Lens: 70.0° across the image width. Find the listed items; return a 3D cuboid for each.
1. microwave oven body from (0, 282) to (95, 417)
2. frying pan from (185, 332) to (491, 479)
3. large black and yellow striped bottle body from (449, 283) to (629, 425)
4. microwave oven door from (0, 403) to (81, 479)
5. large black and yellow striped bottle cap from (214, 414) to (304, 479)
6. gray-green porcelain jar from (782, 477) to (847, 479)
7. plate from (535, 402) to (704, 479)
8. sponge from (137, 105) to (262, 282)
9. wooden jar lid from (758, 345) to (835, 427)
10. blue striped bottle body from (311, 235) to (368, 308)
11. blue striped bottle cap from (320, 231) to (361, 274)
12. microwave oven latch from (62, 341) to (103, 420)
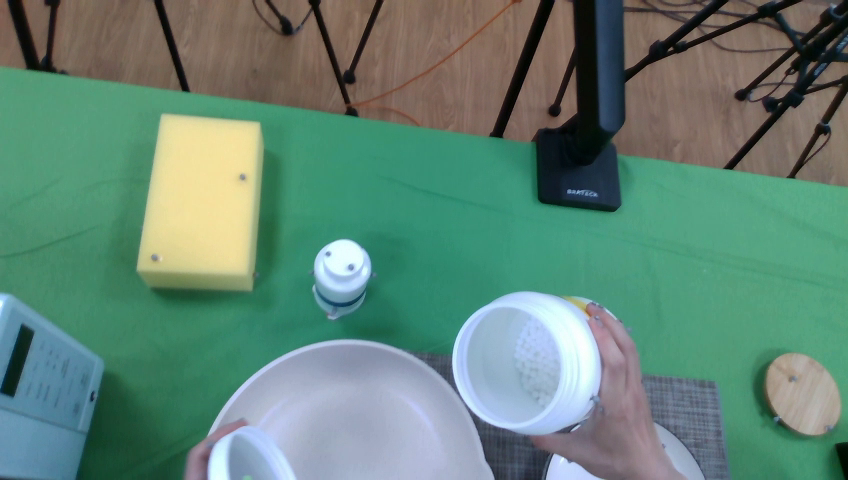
[{"bbox_3d":[-0.499,0.252,0.452,0.327,0.261,0.438,7,68,-8],"label":"microwave oven body"},{"bbox_3d":[-0.089,0.335,0.587,0.307,0.103,0.483,6,59,-6],"label":"frying pan"},{"bbox_3d":[0.116,0.110,0.599,0.130,0.185,0.130,-4,82,32],"label":"large black and yellow striped bottle body"},{"bbox_3d":[-0.359,0.307,0.452,0.039,0.245,0.353,7,67,-8],"label":"microwave oven door"},{"bbox_3d":[-0.128,0.197,0.487,0.019,0.115,0.114,-26,74,4],"label":"large black and yellow striped bottle cap"},{"bbox_3d":[0.457,0.326,0.690,0.106,0.127,0.105,4,67,-9],"label":"gray-green porcelain jar"},{"bbox_3d":[0.225,0.295,0.701,0.210,0.038,0.207,4,68,-9],"label":"plate"},{"bbox_3d":[-0.266,-0.056,0.735,0.118,0.061,0.205,2,68,-10],"label":"sponge"},{"bbox_3d":[0.493,0.194,0.808,0.108,0.021,0.107,4,69,-9],"label":"wooden jar lid"},{"bbox_3d":[-0.099,0.033,0.700,0.063,0.121,0.062,4,67,-9],"label":"blue striped bottle body"},{"bbox_3d":[-0.090,0.013,0.654,0.045,0.021,0.044,4,69,-9],"label":"blue striped bottle cap"},{"bbox_3d":[-0.358,0.145,0.629,0.030,0.029,0.078,7,68,-8],"label":"microwave oven latch"}]
